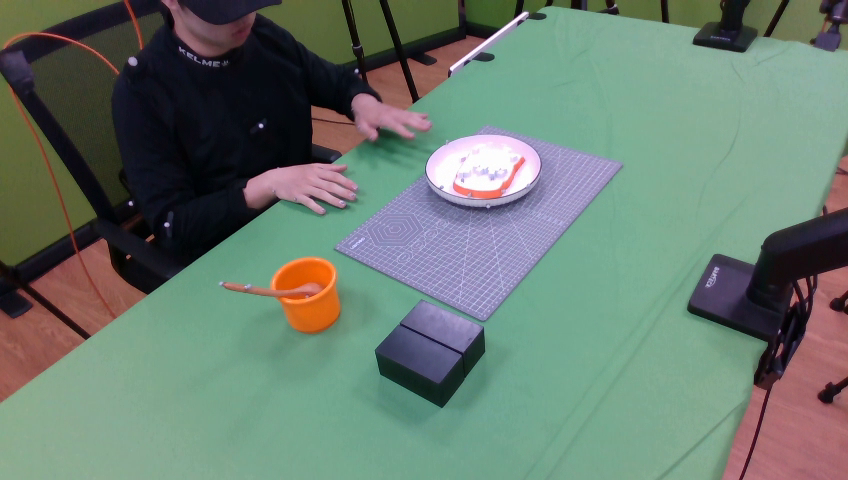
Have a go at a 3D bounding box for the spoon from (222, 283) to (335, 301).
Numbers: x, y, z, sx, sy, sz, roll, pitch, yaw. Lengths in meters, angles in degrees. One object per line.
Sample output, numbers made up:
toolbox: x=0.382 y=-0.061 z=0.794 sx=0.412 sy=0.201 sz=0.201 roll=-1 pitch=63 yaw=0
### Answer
spoon: x=-0.188 y=0.070 z=0.810 sx=0.041 sy=0.021 sz=0.195 roll=29 pitch=12 yaw=33

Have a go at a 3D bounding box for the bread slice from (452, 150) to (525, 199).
bread slice: x=0.112 y=-0.118 z=1.079 sx=0.104 sy=0.019 sz=0.131 roll=11 pitch=43 yaw=21

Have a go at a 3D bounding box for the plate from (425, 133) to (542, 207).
plate: x=0.106 y=-0.121 z=1.079 sx=0.209 sy=0.038 sz=0.208 roll=-4 pitch=41 yaw=4
